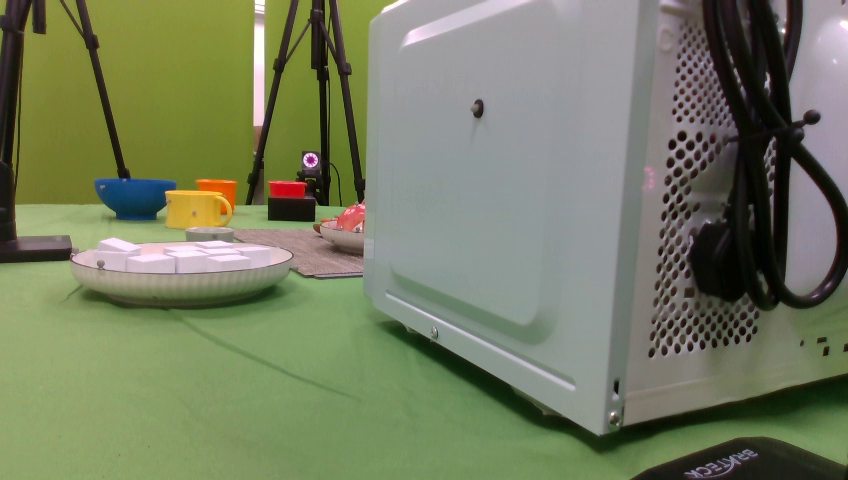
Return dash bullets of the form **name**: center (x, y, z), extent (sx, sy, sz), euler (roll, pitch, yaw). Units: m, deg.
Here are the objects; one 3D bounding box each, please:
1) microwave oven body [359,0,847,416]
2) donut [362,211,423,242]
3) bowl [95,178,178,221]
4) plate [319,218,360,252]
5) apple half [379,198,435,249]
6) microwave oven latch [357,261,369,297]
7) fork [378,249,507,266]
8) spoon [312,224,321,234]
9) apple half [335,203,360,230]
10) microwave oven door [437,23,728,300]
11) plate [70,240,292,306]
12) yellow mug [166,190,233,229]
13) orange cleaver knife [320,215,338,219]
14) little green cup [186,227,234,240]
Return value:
- **microwave oven body**: center (0.211, -0.047, 0.474), extent (0.444, 0.260, 0.324), euler (-1, 7, -28)
- **donut**: center (-0.049, -0.021, 0.958), extent (0.099, 0.048, 0.099), euler (2, 6, 0)
- **bowl**: center (-0.576, -0.081, 1.217), extent (0.151, 0.077, 0.151), euler (4, 8, 0)
- **plate**: center (-0.058, -0.007, 0.939), extent (0.209, 0.038, 0.209), euler (3, 8, 0)
- **apple half**: center (-0.020, -0.030, 0.891), extent (0.081, 0.053, 0.074), euler (-3, 49, -26)
- **microwave oven latch**: center (-0.019, 0.033, 0.531), extent (0.079, 0.029, 0.030), euler (-1, 7, -27)
- **fork**: center (0.031, 0.022, 0.819), extent (0.208, 0.018, 0.028), euler (-5, 5, -33)
- **spoon**: center (-0.112, -0.022, 1.094), extent (0.195, 0.021, 0.041), euler (-4, -13, -37)
- **apple half**: center (-0.116, -0.038, 0.959), extent (0.081, 0.033, 0.081), euler (-38, 8, 7)
- **microwave oven door**: center (0.181, -0.072, 0.621), extent (0.358, 0.243, 0.039), euler (-2, 8, -29)
- **plate**: center (-0.242, 0.032, 0.618), extent (0.208, 0.039, 0.207), euler (2, 8, 0)
- **yellow mug**: center (-0.415, -0.057, 1.132), extent (0.130, 0.064, 0.100), euler (6, 8, 16)
- **orange cleaver knife**: center (-0.142, -0.057, 1.394), extent (0.077, 0.012, 0.212), euler (2, 7, 44)
- **little green cup**: center (-0.284, 0.005, 0.805), extent (0.061, 0.038, 0.061), euler (2, 8, 0)
